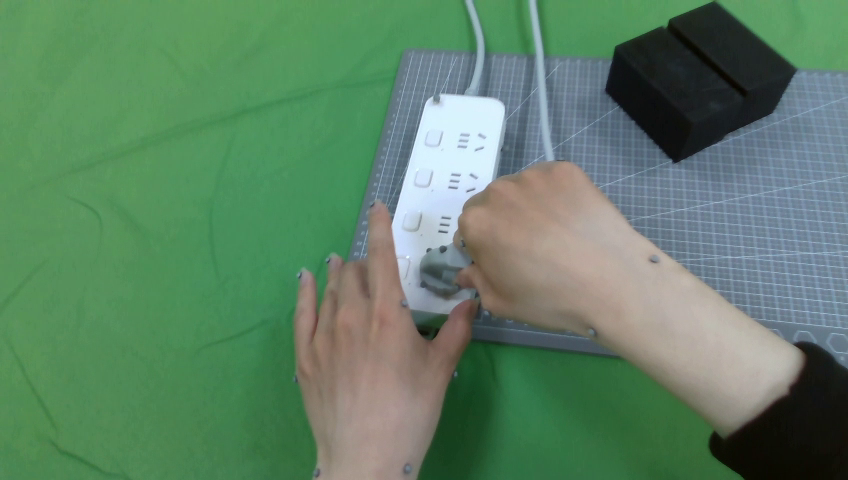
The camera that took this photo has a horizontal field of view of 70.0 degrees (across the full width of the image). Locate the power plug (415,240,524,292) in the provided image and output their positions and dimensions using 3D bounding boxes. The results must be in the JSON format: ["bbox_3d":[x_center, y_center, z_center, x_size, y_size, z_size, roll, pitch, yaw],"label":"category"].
[{"bbox_3d":[0.028,0.026,0.426,0.072,0.053,0.035,20,61,13],"label":"power plug"}]

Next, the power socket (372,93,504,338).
[{"bbox_3d":[0.016,-0.032,0.484,0.072,0.033,0.225,8,59,9],"label":"power socket"}]
